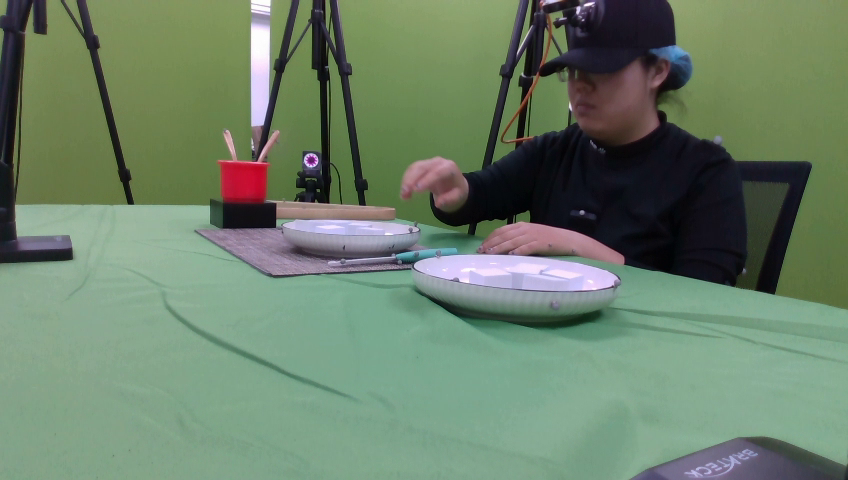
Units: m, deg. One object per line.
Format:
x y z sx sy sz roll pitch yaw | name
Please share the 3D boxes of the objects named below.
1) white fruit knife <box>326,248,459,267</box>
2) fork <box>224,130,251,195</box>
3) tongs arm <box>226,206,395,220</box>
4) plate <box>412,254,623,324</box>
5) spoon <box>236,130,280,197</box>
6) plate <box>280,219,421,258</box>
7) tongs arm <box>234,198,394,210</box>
-0.035 0.026 0.807 0.208 0.016 0.027 -4 -18 -34 | white fruit knife
-0.372 -0.155 1.193 0.028 0.018 0.206 -17 54 -13 | fork
-0.247 -0.061 1.382 0.389 0.028 0.028 0 5 -21 | tongs arm
0.091 0.047 0.609 0.209 0.038 0.209 2 7 0 | plate
-0.321 -0.153 1.192 0.041 0.193 0.022 0 -37 19 | spoon
-0.109 -0.002 0.902 0.208 0.039 0.207 3 7 0 | plate
-0.263 -0.076 1.460 0.386 0.026 0.050 3 8 -8 | tongs arm
